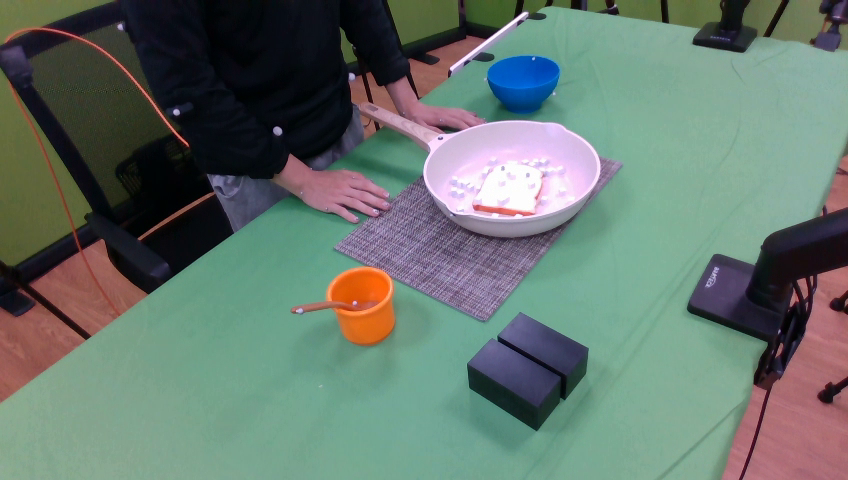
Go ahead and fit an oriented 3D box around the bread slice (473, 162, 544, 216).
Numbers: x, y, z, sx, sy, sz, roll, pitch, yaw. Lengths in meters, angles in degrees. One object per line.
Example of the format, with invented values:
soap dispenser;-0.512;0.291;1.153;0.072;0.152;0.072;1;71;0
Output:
bread slice;0.150;-0.088;1.041;0.106;0.018;0.134;7;45;16

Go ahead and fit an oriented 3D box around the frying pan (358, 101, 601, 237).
frying pan;0.067;-0.153;1.067;0.484;0.103;0.308;32;52;26

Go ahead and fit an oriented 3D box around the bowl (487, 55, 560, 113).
bowl;0.208;-0.319;1.266;0.151;0.077;0.150;-4;41;4

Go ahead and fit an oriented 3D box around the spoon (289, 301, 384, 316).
spoon;-0.112;0.087;0.785;0.041;0.195;0.021;14;89;28
